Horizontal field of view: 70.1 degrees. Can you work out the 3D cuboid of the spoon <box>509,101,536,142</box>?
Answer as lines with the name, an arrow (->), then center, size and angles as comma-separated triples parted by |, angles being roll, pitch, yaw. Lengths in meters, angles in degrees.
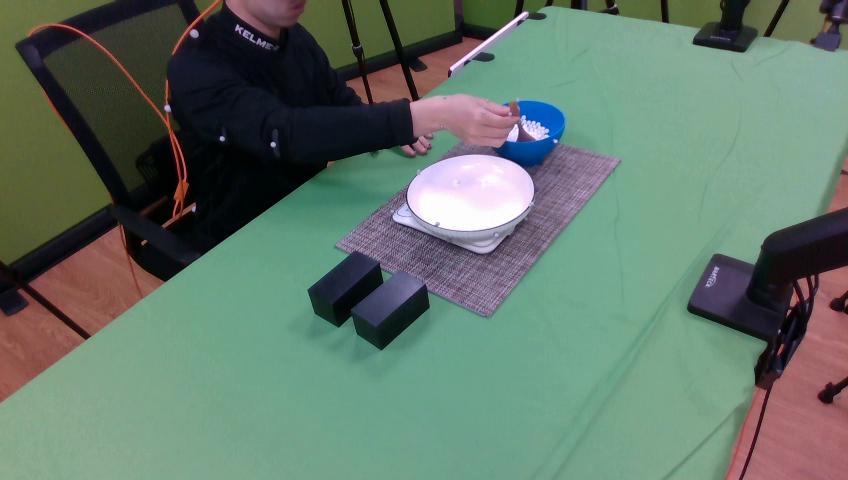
spoon -> 0.165, -0.195, 1.041 | 0.041, 0.195, 0.021 | -14, 70, 14

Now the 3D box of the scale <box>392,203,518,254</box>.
scale -> 0.060, -0.050, 1.006 | 0.199, 0.032, 0.149 | 22, 48, 30

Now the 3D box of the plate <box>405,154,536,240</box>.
plate -> 0.075, -0.067, 0.973 | 0.209, 0.038, 0.208 | -4, 41, 4

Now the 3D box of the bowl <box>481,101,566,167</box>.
bowl -> 0.183, -0.186, 1.111 | 0.151, 0.077, 0.150 | -4, 40, 4
